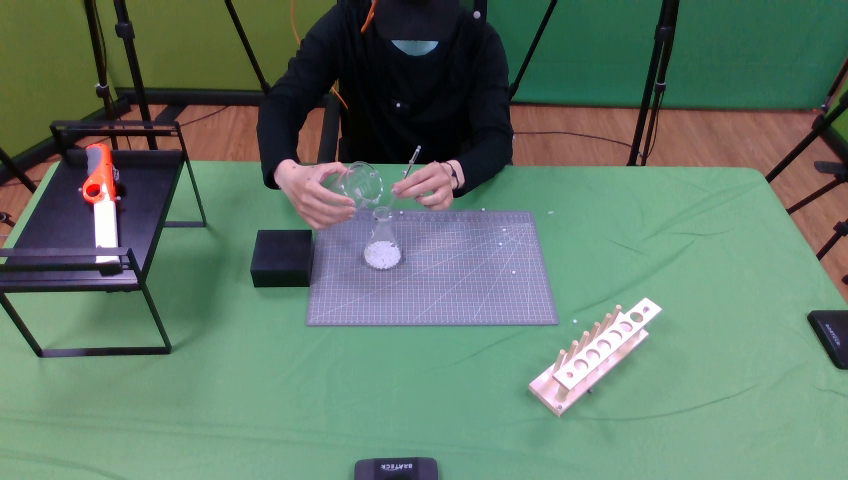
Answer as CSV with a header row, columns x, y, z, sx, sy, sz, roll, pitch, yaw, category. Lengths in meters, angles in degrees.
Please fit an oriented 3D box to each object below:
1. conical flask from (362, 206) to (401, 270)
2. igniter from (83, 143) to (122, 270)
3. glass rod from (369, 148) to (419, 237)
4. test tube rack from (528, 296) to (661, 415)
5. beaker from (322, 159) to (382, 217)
x,y,z,sx,sy,sz,roll,pitch,yaw,category
-0.078,-0.008,1.127,0.075,0.122,0.075,2,46,-2,conical flask
-0.508,-0.063,0.962,0.057,0.025,0.274,-14,53,-18,igniter
-0.055,-0.081,1.074,0.008,0.200,0.008,23,30,-14,glass rod
0.285,0.178,1.005,0.242,0.085,0.066,-31,55,-29,test tube rack
-0.132,-0.087,1.091,0.074,0.100,0.084,-35,94,-42,beaker
